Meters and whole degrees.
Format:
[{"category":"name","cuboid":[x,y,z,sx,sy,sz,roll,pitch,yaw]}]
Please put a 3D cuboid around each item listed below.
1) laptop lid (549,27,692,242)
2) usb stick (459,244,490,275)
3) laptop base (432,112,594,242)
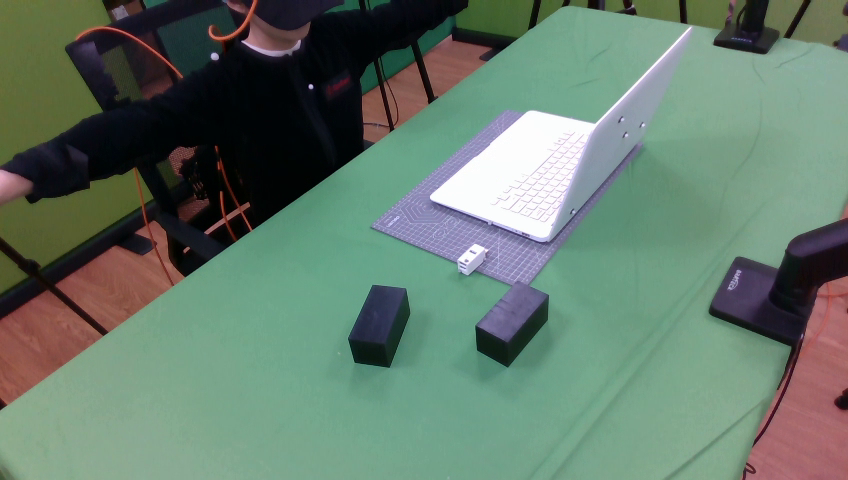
[{"category":"laptop lid","cuboid":[0.311,-0.167,0.948,0.013,0.242,0.358,33,52,20]},{"category":"usb stick","cuboid":[0.080,0.026,0.926,0.021,0.027,0.059,27,49,33]},{"category":"laptop base","cuboid":[0.208,-0.129,1.098,0.233,0.023,0.355,20,47,34]}]
